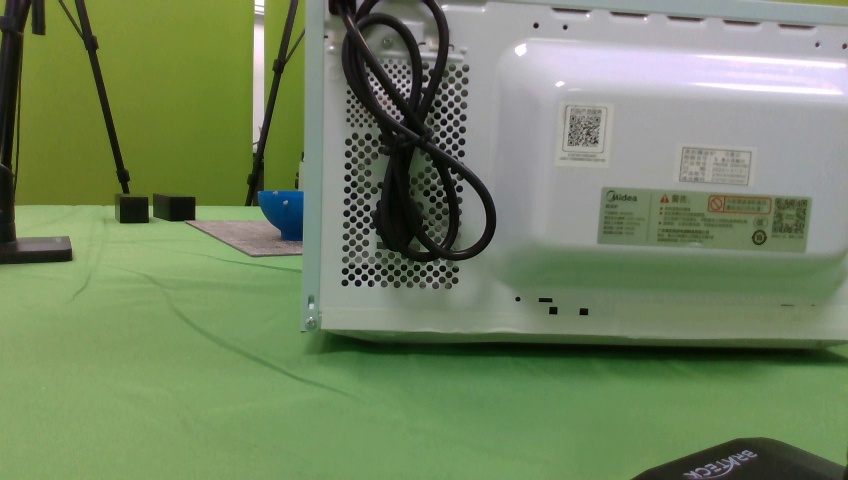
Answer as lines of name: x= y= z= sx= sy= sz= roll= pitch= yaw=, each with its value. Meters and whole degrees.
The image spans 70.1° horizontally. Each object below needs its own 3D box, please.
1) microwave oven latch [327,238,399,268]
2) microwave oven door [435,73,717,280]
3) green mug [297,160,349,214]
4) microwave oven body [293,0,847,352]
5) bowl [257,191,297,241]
microwave oven latch: x=-0.069 y=0.015 z=0.694 sx=0.079 sy=0.029 sz=0.030 roll=3 pitch=7 yaw=-3
microwave oven door: x=0.180 y=-0.089 z=0.795 sx=0.354 sy=0.243 sz=0.039 roll=6 pitch=7 yaw=30
green mug: x=-0.204 y=-0.112 z=1.254 sx=0.092 sy=0.105 sz=0.126 roll=9 pitch=15 yaw=37
microwave oven body: x=0.122 y=-0.055 z=0.550 sx=0.442 sy=0.260 sz=0.325 roll=3 pitch=7 yaw=-5
bowl: x=-0.206 y=-0.041 z=1.027 sx=0.151 sy=0.077 sz=0.151 roll=3 pitch=8 yaw=0
